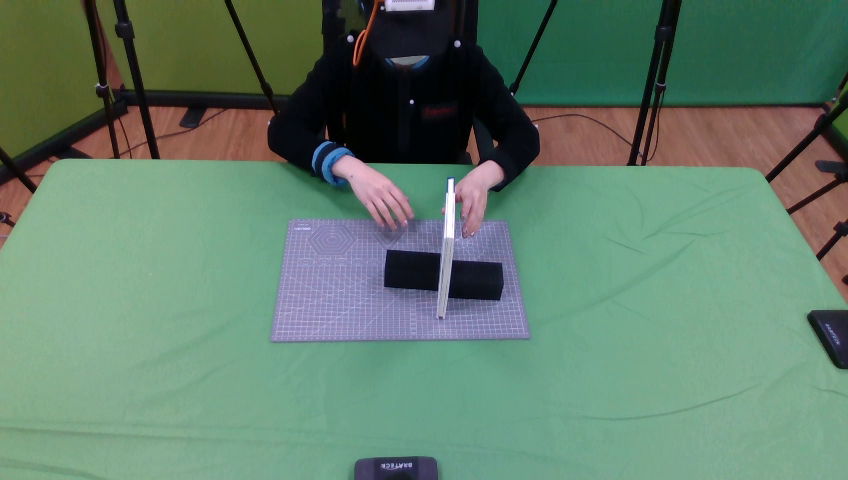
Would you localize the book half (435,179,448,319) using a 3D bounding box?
[{"bbox_3d":[0.031,0.019,1.045,0.007,0.211,0.142,4,46,1],"label":"book half"}]

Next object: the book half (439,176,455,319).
[{"bbox_3d":[0.038,0.017,1.047,0.016,0.211,0.147,3,46,0],"label":"book half"}]
